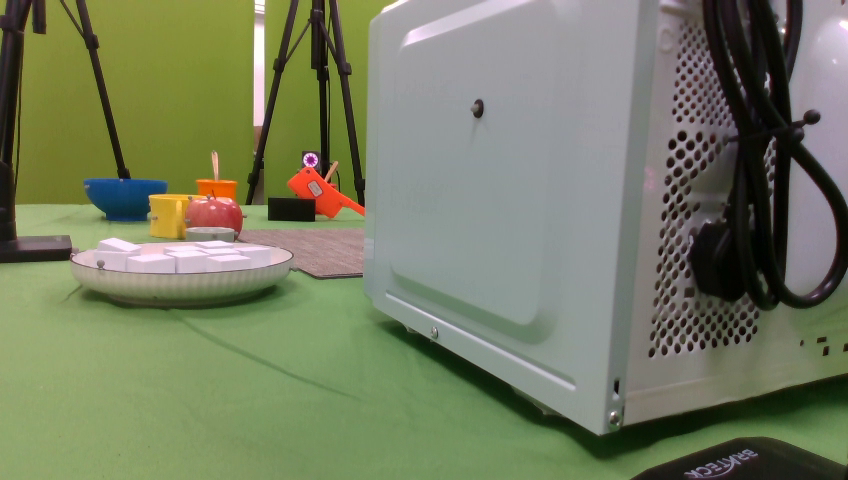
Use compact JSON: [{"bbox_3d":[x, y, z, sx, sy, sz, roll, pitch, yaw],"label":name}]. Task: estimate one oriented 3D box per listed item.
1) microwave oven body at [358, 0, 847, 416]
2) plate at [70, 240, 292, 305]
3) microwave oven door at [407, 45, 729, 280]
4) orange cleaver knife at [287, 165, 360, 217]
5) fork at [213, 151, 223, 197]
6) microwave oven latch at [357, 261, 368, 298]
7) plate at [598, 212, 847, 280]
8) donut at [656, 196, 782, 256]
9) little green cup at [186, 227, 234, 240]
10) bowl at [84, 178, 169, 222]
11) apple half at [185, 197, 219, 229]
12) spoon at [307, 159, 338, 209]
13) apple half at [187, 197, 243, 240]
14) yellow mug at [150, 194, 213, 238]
[{"bbox_3d":[0.211,-0.047,0.474,0.444,0.260,0.324,-1,7,-28],"label":"microwave oven body"},{"bbox_3d":[-0.242,0.031,0.618,0.208,0.039,0.207,2,8,0],"label":"plate"},{"bbox_3d":[0.163,-0.079,0.673,0.357,0.243,0.039,1,8,-10],"label":"microwave oven door"},{"bbox_3d":[-0.211,-0.093,1.382,0.212,0.077,0.012,33,1,-15],"label":"orange cleaver knife"},{"bbox_3d":[-0.493,-0.143,1.442,0.028,0.018,0.206,-3,52,-19],"label":"fork"},{"bbox_3d":[-0.019,0.033,0.530,0.079,0.029,0.030,0,7,-26],"label":"microwave oven latch"},{"bbox_3d":[0.256,0.002,0.519,0.209,0.038,0.209,2,7,0],"label":"plate"},{"bbox_3d":[0.250,-0.012,0.518,0.099,0.048,0.099,5,7,0],"label":"donut"},{"bbox_3d":[-0.284,0.005,0.805,0.061,0.038,0.061,3,8,0],"label":"little green cup"},{"bbox_3d":[-0.584,-0.078,1.194,0.151,0.077,0.151,3,8,0],"label":"bowl"},{"bbox_3d":[-0.338,-0.031,0.927,0.032,0.081,0.081,12,12,31],"label":"apple half"},{"bbox_3d":[-0.257,-0.147,1.567,0.041,0.022,0.193,2,50,19],"label":"spoon"},{"bbox_3d":[-0.305,-0.026,0.907,0.053,0.074,0.081,12,8,31],"label":"apple half"},{"bbox_3d":[-0.401,-0.040,1.003,0.100,0.064,0.130,-1,9,-20],"label":"yellow mug"}]
